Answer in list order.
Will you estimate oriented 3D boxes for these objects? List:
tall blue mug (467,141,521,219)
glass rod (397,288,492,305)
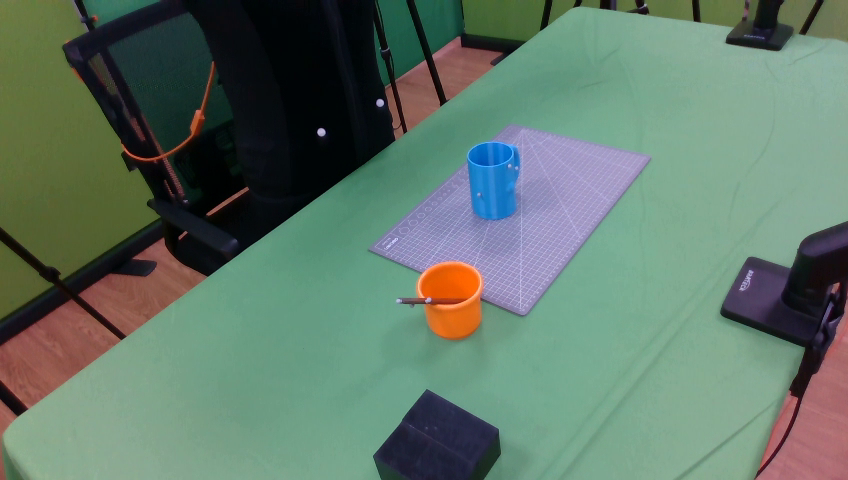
[{"bbox_3d":[0.119,-0.109,1.020,0.077,0.108,0.107,2,42,16],"label":"tall blue mug"},{"bbox_3d":[0.033,0.074,0.802,0.008,0.008,0.201,28,18,36],"label":"glass rod"}]
